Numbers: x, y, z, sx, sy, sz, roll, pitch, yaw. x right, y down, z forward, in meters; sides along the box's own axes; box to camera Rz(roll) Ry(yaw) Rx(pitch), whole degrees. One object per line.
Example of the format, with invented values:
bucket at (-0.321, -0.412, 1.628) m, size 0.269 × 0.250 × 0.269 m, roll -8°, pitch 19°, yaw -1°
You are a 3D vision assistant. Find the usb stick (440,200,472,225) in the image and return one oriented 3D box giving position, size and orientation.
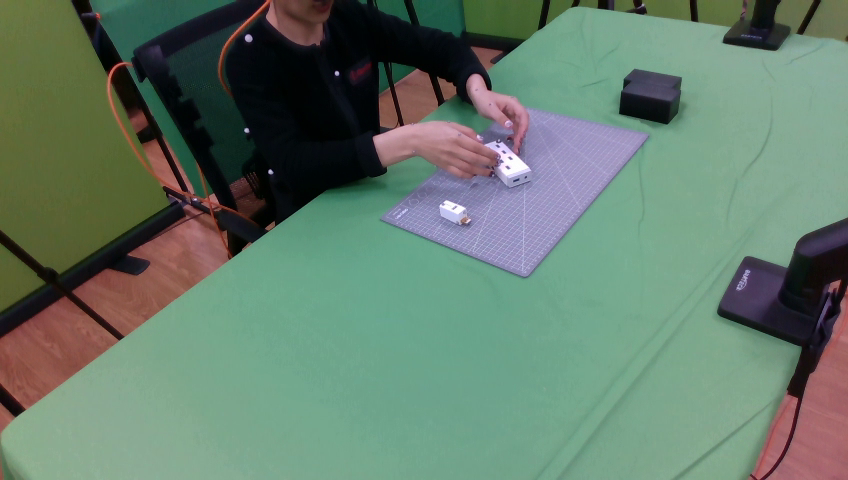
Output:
usb stick at (0.055, -0.044, 1.016) m, size 0.058 × 0.027 × 0.021 m, roll 29°, pitch 52°, yaw 33°

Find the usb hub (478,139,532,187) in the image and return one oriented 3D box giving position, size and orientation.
usb hub at (0.149, -0.143, 1.116) m, size 0.050 × 0.025 × 0.124 m, roll -19°, pitch 41°, yaw -12°
